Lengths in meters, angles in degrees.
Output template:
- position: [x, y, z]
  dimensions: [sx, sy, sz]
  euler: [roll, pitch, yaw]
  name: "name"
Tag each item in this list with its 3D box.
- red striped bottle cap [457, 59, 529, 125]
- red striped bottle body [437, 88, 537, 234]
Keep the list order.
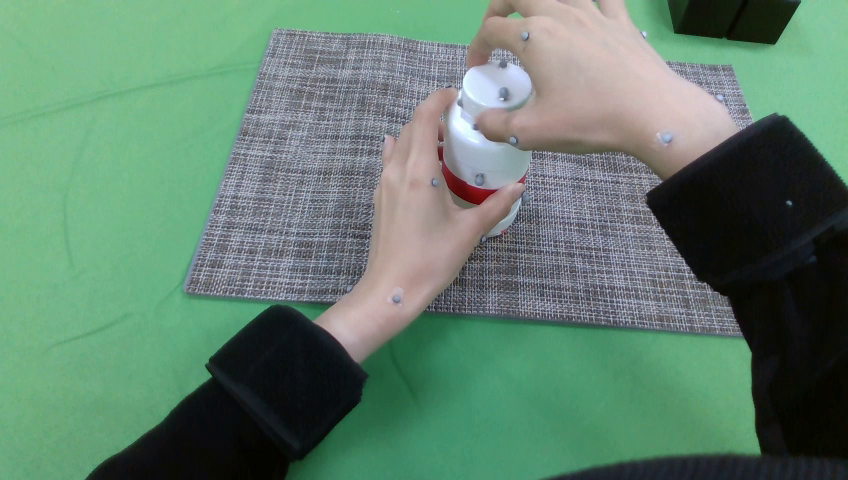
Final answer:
- position: [0.044, -0.094, 0.380]
  dimensions: [0.044, 0.018, 0.044]
  euler: [2, 56, -3]
  name: "red striped bottle cap"
- position: [0.042, -0.063, 0.424]
  dimensions: [0.063, 0.120, 0.062]
  euler: [1, 55, -1]
  name: "red striped bottle body"
